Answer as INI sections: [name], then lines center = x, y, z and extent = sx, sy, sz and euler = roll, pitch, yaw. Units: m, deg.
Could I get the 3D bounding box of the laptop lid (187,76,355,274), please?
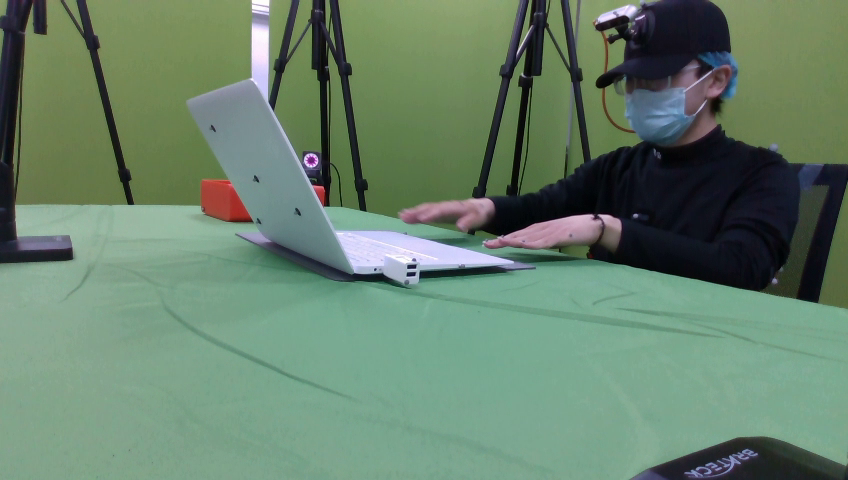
[laptop lid]
center = -0.211, -0.082, 0.772
extent = 0.013, 0.242, 0.355
euler = -34, 25, -23

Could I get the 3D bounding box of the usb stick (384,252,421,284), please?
[usb stick]
center = -0.028, 0.029, 0.675
extent = 0.021, 0.027, 0.059
euler = -3, 10, -33

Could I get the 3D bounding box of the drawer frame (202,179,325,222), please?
[drawer frame]
center = -0.361, -0.092, 1.356
extent = 0.215, 0.082, 0.200
euler = -4, 10, -37

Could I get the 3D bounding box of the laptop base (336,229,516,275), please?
[laptop base]
center = -0.066, 0.014, 0.877
extent = 0.237, 0.023, 0.352
euler = 2, 7, -32

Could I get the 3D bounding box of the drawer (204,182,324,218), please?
[drawer]
center = -0.360, -0.091, 1.358
extent = 0.213, 0.073, 0.193
euler = -4, 10, -36
